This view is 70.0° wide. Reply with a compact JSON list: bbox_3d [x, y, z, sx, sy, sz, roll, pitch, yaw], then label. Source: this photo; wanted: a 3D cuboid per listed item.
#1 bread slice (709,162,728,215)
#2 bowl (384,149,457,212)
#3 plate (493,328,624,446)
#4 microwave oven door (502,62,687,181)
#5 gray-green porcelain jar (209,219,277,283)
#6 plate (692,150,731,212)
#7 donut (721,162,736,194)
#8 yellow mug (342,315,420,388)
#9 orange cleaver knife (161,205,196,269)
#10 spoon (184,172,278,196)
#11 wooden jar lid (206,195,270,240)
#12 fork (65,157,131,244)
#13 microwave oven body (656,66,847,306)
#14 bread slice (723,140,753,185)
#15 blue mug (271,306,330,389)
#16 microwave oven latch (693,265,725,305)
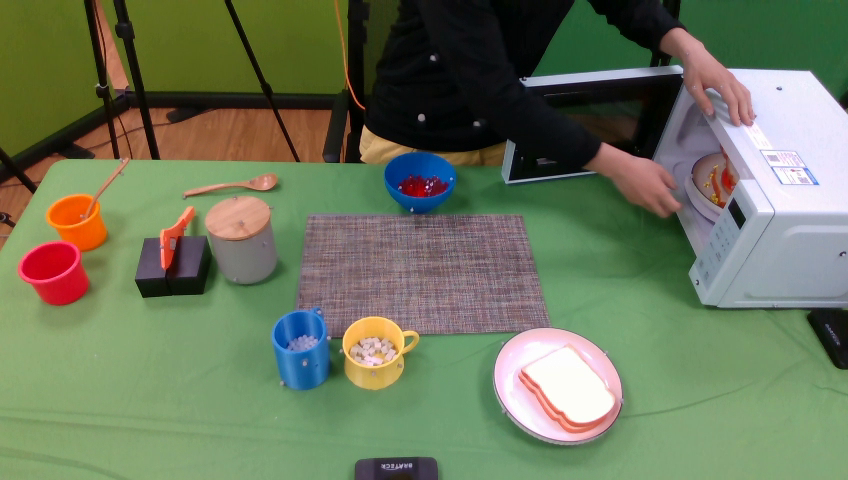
[{"bbox_3d":[0.650,-0.104,1.260,0.105,0.019,0.131,11,66,5],"label":"bread slice"},{"bbox_3d":[-0.009,-0.112,1.262,0.151,0.077,0.150,2,46,-2],"label":"bowl"},{"bbox_3d":[0.213,0.236,0.974,0.208,0.039,0.206,2,46,-2],"label":"plate"},{"bbox_3d":[0.353,-0.247,1.277,0.356,0.245,0.039,-8,48,-11],"label":"microwave oven door"},{"bbox_3d":[-0.323,0.007,1.092,0.106,0.127,0.105,2,46,-2],"label":"gray-green porcelain jar"},{"bbox_3d":[0.653,-0.107,1.239,0.209,0.038,0.208,1,46,-1],"label":"plate"},{"bbox_3d":[0.648,-0.122,1.218,0.099,0.048,0.098,-1,57,2],"label":"donut"},{"bbox_3d":[-0.068,0.177,0.990,0.131,0.064,0.099,-15,50,-19],"label":"yellow mug"},{"bbox_3d":[-0.454,-0.010,1.129,0.012,0.077,0.210,-2,20,-5],"label":"orange cleaver knife"},{"bbox_3d":[-0.406,-0.117,1.275,0.194,0.022,0.041,-8,65,-12],"label":"spoon"},{"bbox_3d":[-0.319,-0.036,1.046,0.108,0.021,0.107,1,44,0],"label":"wooden jar lid"},{"bbox_3d":[-0.609,-0.074,1.133,0.207,0.019,0.028,-52,51,10],"label":"fork"},{"bbox_3d":[0.669,-0.111,1.176,0.326,0.261,0.439,0,46,-3],"label":"microwave oven body"},{"bbox_3d":[0.660,-0.146,1.200,0.107,0.018,0.133,1,54,8],"label":"bread slice"},{"bbox_3d":[-0.188,0.163,0.969,0.082,0.106,0.116,15,47,10],"label":"blue mug"},{"bbox_3d":[0.523,0.082,1.116,0.030,0.029,0.078,2,46,-1],"label":"microwave oven latch"}]
